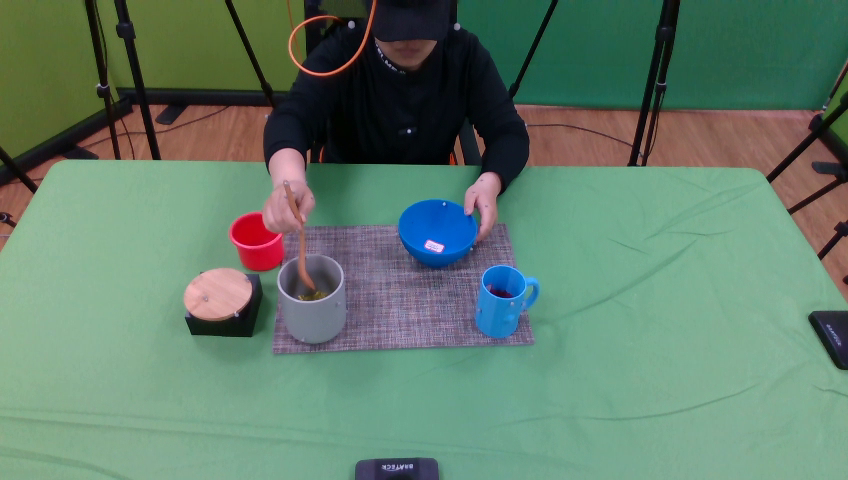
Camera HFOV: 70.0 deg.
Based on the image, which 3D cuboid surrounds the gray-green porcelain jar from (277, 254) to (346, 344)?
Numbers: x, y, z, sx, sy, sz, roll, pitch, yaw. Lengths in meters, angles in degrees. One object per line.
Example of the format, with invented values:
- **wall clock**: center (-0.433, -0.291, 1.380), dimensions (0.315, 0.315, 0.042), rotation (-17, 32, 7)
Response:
- **gray-green porcelain jar**: center (-0.184, 0.102, 1.008), dimensions (0.106, 0.127, 0.105), rotation (2, 46, -2)

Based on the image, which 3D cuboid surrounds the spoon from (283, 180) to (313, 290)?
- **spoon**: center (-0.195, -0.005, 0.943), dimensions (0.022, 0.194, 0.041), rotation (-9, 28, -11)

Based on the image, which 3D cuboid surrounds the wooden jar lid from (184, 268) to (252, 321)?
- **wooden jar lid**: center (-0.343, 0.093, 1.015), dimensions (0.108, 0.021, 0.107), rotation (3, 46, -3)

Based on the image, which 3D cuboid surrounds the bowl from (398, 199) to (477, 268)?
- **bowl**: center (0.024, -0.001, 1.157), dimensions (0.151, 0.077, 0.150), rotation (2, 46, -2)

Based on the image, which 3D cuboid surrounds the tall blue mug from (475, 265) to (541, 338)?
- **tall blue mug**: center (0.142, 0.099, 1.047), dimensions (0.077, 0.108, 0.107), rotation (33, 52, 27)
